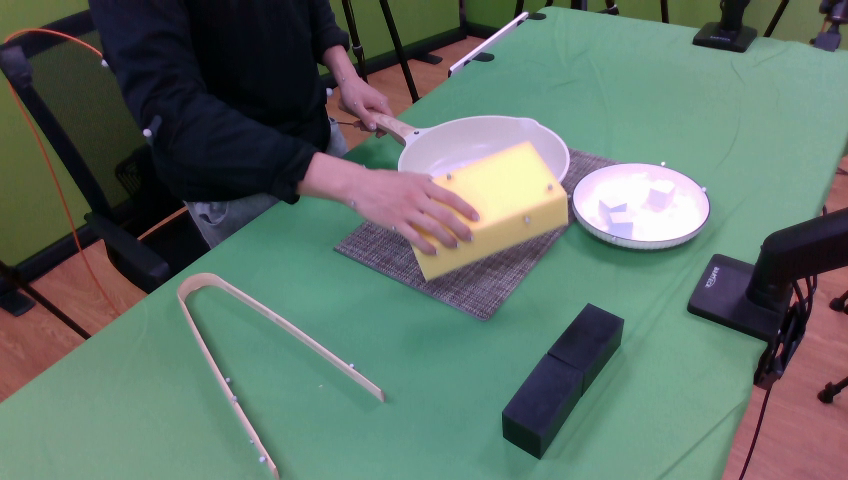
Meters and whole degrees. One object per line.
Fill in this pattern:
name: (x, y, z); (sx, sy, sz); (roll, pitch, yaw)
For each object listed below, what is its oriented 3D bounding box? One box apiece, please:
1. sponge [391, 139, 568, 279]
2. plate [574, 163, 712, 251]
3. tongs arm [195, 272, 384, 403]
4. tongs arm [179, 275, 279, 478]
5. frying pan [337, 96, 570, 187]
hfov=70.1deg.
sponge: (0.072, -0.043, 0.803); (0.207, 0.061, 0.117); (-22, 50, -4)
plate: (0.344, -0.050, 0.966); (0.207, 0.039, 0.206); (-4, 40, 4)
tongs arm: (-0.198, 0.126, 0.847); (0.384, 0.028, 0.028); (25, 52, 32)
tongs arm: (-0.260, 0.161, 0.807); (0.051, 0.026, 0.381); (-28, 44, -25)
frying pan: (0.023, -0.167, 1.090); (0.484, 0.103, 0.308); (32, 53, 26)
